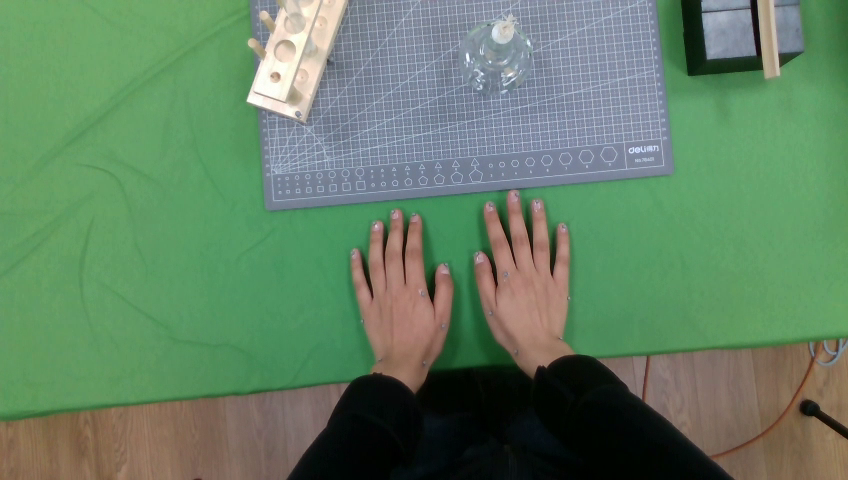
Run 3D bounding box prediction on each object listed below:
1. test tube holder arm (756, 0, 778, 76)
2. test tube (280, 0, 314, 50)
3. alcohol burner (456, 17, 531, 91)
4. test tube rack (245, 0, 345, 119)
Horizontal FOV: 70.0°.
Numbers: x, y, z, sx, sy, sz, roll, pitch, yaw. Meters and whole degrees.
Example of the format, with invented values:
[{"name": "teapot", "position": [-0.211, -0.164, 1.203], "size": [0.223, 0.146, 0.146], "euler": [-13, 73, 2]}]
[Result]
[{"name": "test tube holder arm", "position": [0.342, -0.254, 0.608], "size": [0.013, 0.015, 0.178], "euler": [-1, 88, -31]}, {"name": "test tube", "position": [-0.125, -0.219, 0.586], "size": [0.017, 0.150, 0.017], "euler": [0, 85, -1]}, {"name": "alcohol burner", "position": [0.072, -0.195, 0.615], "size": [0.078, 0.119, 0.078], "euler": [0, 86, 1]}, {"name": "test tube rack", "position": [-0.128, -0.261, 0.637], "size": [0.067, 0.085, 0.242], "euler": [19, 88, 3]}]
